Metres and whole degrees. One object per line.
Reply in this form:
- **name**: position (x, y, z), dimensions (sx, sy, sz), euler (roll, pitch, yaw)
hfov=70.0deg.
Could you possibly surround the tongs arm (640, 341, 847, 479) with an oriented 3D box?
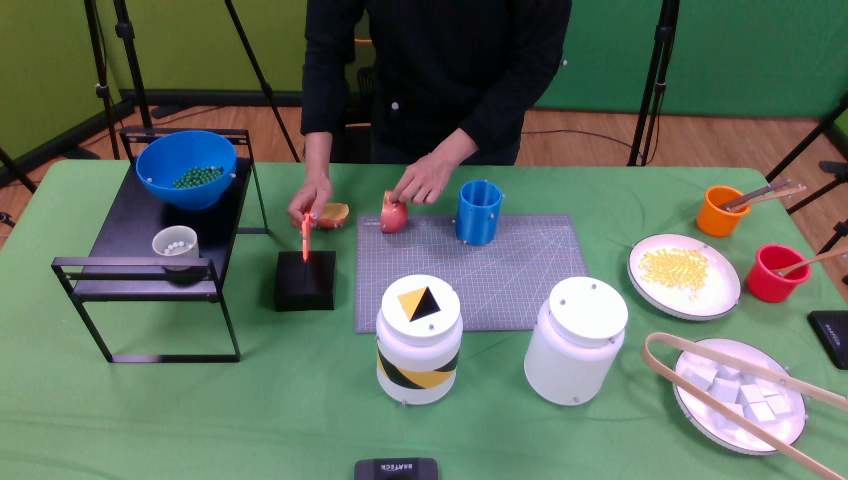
- **tongs arm**: position (0.500, 0.278, 0.920), dimensions (0.386, 0.028, 0.028), euler (34, 59, 22)

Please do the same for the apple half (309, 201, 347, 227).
- **apple half**: position (-0.190, -0.048, 1.220), dimensions (0.081, 0.033, 0.081), euler (-3, 31, 2)

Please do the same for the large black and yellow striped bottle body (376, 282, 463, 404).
- **large black and yellow striped bottle body**: position (-0.010, 0.155, 0.937), dimensions (0.131, 0.185, 0.130), euler (2, 47, -2)

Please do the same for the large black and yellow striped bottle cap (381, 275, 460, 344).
- **large black and yellow striped bottle cap**: position (-0.005, 0.099, 0.875), dimensions (0.115, 0.019, 0.114), euler (2, 45, -2)

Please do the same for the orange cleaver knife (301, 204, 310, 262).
- **orange cleaver knife**: position (-0.217, -0.016, 1.109), dimensions (0.012, 0.077, 0.210), euler (-1, 16, -9)

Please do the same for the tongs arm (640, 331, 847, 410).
- **tongs arm**: position (0.543, 0.226, 0.969), dimensions (0.384, 0.026, 0.050), euler (22, 53, 13)

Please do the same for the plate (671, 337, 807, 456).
- **plate**: position (0.504, 0.254, 0.984), dimensions (0.208, 0.039, 0.206), euler (2, 46, -2)

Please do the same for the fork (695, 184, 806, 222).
- **fork**: position (0.658, -0.074, 1.229), dimensions (0.207, 0.019, 0.028), euler (-24, 33, 36)

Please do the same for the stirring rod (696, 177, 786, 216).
- **stirring rod**: position (0.648, -0.087, 1.244), dimensions (0.176, 0.006, 0.014), euler (-25, 51, 29)

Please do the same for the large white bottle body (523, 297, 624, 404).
- **large white bottle body**: position (0.235, 0.159, 0.952), dimensions (0.131, 0.185, 0.130), euler (2, 47, -2)

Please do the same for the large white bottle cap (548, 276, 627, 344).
- **large white bottle cap**: position (0.240, 0.100, 0.890), dimensions (0.115, 0.018, 0.114), euler (3, 47, -3)

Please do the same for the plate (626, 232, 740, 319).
- **plate**: position (0.488, 0.071, 1.157), dimensions (0.209, 0.038, 0.208), euler (3, 46, -3)

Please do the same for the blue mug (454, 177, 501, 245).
- **blue mug**: position (0.106, -0.067, 1.208), dimensions (0.082, 0.106, 0.116), euler (6, 46, 1)

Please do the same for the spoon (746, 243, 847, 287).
- **spoon**: position (0.702, 0.044, 1.126), dimensions (0.194, 0.022, 0.041), euler (-29, 38, 30)

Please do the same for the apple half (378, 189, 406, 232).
- **apple half**: position (-0.062, -0.056, 1.207), dimensions (0.053, 0.075, 0.080), euler (7, 42, -5)

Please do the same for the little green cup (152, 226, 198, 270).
- **little green cup**: position (-0.364, 0.013, 0.894), dimensions (0.061, 0.039, 0.061), euler (3, 46, -3)

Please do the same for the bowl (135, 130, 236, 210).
- **bowl**: position (-0.375, -0.102, 0.978), dimensions (0.151, 0.077, 0.150), euler (3, 46, -2)
